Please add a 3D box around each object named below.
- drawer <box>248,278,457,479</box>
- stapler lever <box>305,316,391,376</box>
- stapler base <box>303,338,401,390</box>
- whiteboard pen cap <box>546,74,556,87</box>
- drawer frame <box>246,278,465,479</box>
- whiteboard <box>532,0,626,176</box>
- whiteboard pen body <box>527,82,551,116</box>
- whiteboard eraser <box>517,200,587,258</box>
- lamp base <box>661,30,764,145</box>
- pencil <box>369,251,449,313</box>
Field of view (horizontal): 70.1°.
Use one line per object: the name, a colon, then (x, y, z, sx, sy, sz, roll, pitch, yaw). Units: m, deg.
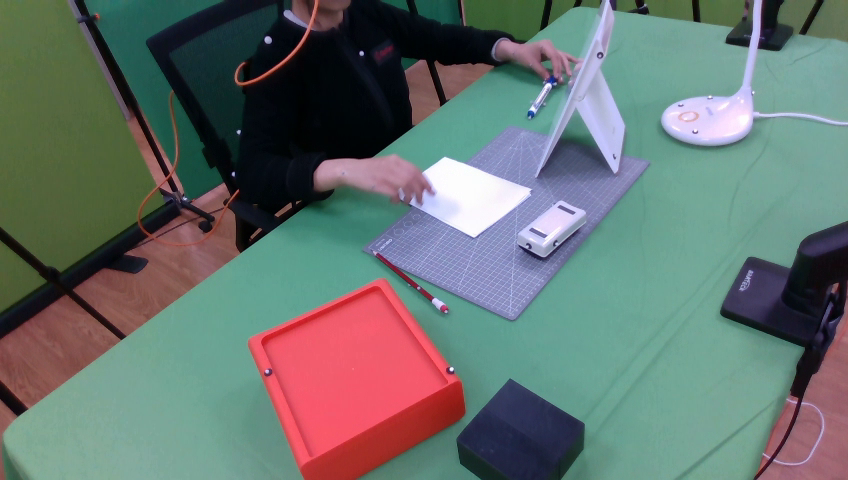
drawer: (-0.092, 0.167, 0.756, 0.195, 0.073, 0.210, -23, 43, -18)
stapler lever: (-0.100, 0.137, 0.789, 0.118, 0.040, 0.026, -23, 45, -12)
stapler base: (-0.096, 0.160, 0.813, 0.131, 0.024, 0.041, -17, 43, -17)
whiteboard pen cap: (0.278, -0.349, 1.329, 0.018, 0.018, 0.033, 13, 51, 23)
drawer frame: (-0.088, 0.168, 0.752, 0.202, 0.083, 0.211, -24, 43, -18)
whiteboard: (0.321, -0.258, 1.050, 0.144, 0.306, 0.217, 22, 45, 5)
whiteboard pen body: (0.251, -0.308, 1.294, 0.017, 0.017, 0.141, 14, 48, 25)
whiteboard eraser: (0.201, -0.016, 0.943, 0.113, 0.042, 0.055, -37, 46, -29)
lamp base: (0.535, -0.287, 1.096, 0.179, 0.181, 0.159, -10, 40, -4)
pencil: (-0.028, 0.060, 0.924, 0.012, 0.012, 0.192, -33, 46, -25)
